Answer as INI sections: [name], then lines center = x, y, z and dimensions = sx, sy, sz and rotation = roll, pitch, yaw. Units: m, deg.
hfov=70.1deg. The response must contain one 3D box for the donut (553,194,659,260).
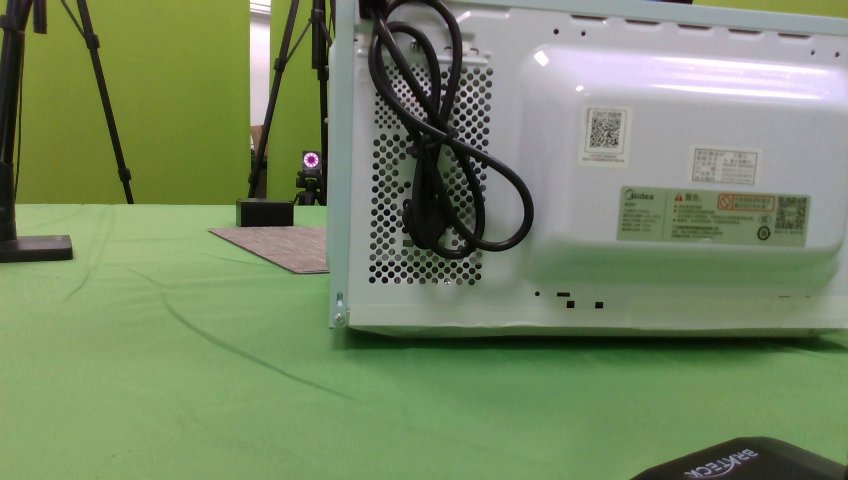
[donut]
center = 0.172, -0.015, 0.575
dimensions = 0.099, 0.048, 0.099
rotation = -11, 13, 3

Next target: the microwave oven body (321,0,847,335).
[microwave oven body]
center = 0.133, -0.062, 0.568
dimensions = 0.443, 0.260, 0.325
rotation = 2, 6, -8

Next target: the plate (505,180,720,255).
[plate]
center = 0.184, -0.024, 0.615
dimensions = 0.209, 0.038, 0.209
rotation = 5, 15, -1

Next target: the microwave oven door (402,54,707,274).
[microwave oven door]
center = 0.157, -0.085, 0.717
dimensions = 0.357, 0.243, 0.039
rotation = 1, 8, -8

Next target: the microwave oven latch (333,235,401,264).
[microwave oven latch]
center = -0.065, 0.011, 0.700
dimensions = 0.079, 0.029, 0.030
rotation = 2, 6, -8
